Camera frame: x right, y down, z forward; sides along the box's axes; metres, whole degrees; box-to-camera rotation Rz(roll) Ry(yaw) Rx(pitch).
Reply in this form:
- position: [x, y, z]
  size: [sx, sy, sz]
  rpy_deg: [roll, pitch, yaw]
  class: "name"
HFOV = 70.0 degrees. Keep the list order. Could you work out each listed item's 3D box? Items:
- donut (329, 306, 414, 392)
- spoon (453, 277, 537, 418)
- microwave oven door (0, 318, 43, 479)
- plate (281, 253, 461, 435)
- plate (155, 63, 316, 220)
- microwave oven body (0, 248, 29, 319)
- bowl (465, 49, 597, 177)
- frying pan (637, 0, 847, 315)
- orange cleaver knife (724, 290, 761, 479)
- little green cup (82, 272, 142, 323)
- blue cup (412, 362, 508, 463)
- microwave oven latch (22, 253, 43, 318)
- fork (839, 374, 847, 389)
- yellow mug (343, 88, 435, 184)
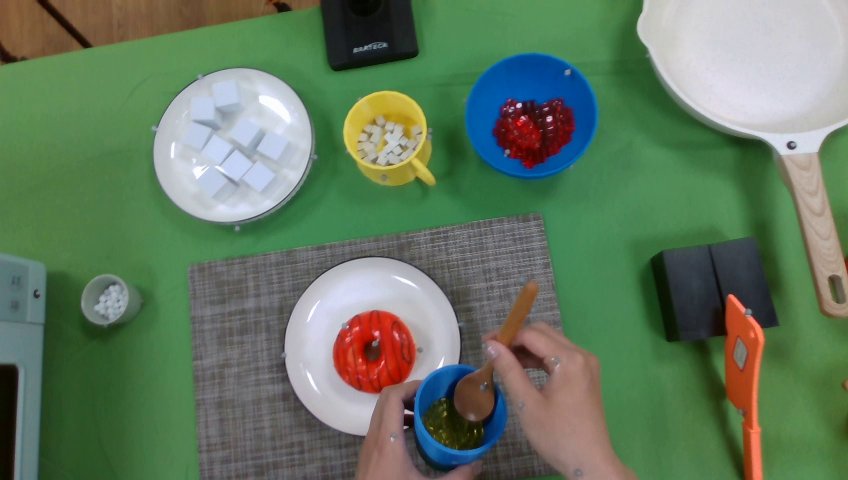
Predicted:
- position: [-0.060, 0.125, 0.697]
  size: [0.099, 0.048, 0.099]
  rpy_deg: [-1, 83, 6]
  class: "donut"
- position: [0.061, 0.099, 0.522]
  size: [0.041, 0.195, 0.021]
  rpy_deg: [36, 50, 17]
  class: "spoon"
- position: [-0.488, 0.251, 0.607]
  size: [0.039, 0.245, 0.354]
  rpy_deg: [-6, 79, 5]
  class: "microwave oven door"
- position: [-0.061, 0.119, 0.710]
  size: [0.209, 0.038, 0.208]
  rpy_deg: [-1, 80, 5]
  class: "plate"
- position: [-0.237, -0.124, 0.777]
  size: [0.207, 0.039, 0.206]
  rpy_deg: [-1, 79, 6]
  class: "plate"
- position: [-0.636, 0.224, 0.632]
  size: [0.326, 0.261, 0.439]
  rpy_deg: [-5, 79, 4]
  class: "microwave oven body"
- position: [0.125, -0.140, 0.724]
  size: [0.151, 0.077, 0.150]
  rpy_deg: [-1, 80, 6]
  class: "bowl"
- position: [0.406, -0.154, 0.686]
  size: [0.306, 0.103, 0.484]
  rpy_deg: [-3, 71, 6]
  class: "frying pan"
- position: [0.338, 0.158, 0.646]
  size: [0.012, 0.077, 0.212]
  rpy_deg: [-9, 107, 4]
  class: "orange cleaver knife"
- position: [-0.385, 0.072, 0.753]
  size: [0.061, 0.039, 0.061]
  rpy_deg: [-1, 81, 4]
  class: "little green cup"
- position: [0.027, 0.176, 0.591]
  size: [0.093, 0.101, 0.092]
  rpy_deg: [5, 59, -8]
  class: "blue cup"
- position: [-0.493, 0.057, 0.748]
  size: [0.030, 0.029, 0.079]
  rpy_deg: [-2, 80, 5]
  class: "microwave oven latch"
- position: [0.457, 0.165, 0.598]
  size: [0.209, 0.018, 0.028]
  rpy_deg: [28, 80, -34]
  class: "fork"
- position: [-0.033, -0.116, 0.742]
  size: [0.100, 0.064, 0.130]
  rpy_deg: [-45, 79, -4]
  class: "yellow mug"
